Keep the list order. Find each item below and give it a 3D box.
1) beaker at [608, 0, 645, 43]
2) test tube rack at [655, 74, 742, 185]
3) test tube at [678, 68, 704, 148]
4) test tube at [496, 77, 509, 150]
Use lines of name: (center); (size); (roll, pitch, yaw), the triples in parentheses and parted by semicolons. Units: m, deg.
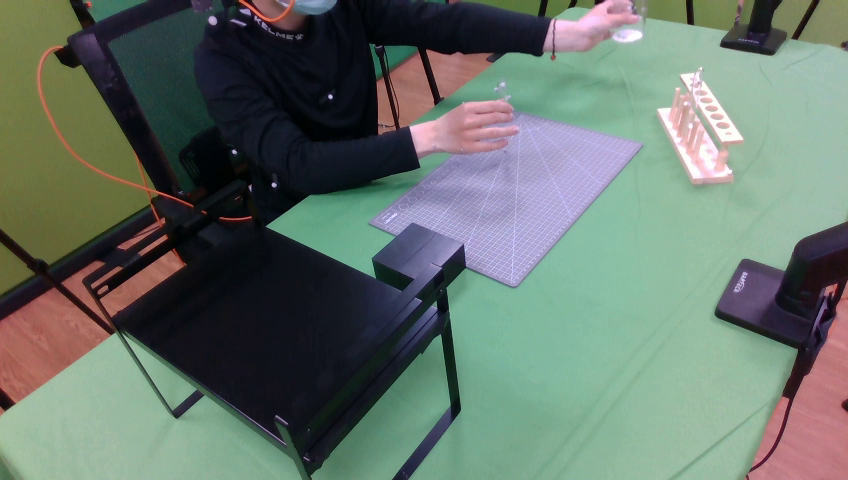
beaker: (0.418, -0.466, 1.244); (0.084, 0.101, 0.073); (-9, 39, 2)
test tube rack: (0.488, -0.205, 1.093); (0.067, 0.085, 0.241); (-3, 41, 5)
test tube: (0.465, -0.228, 1.054); (0.017, 0.151, 0.017); (-4, 41, 4)
test tube: (0.138, -0.218, 1.062); (0.017, 0.151, 0.017); (-6, 47, 7)
